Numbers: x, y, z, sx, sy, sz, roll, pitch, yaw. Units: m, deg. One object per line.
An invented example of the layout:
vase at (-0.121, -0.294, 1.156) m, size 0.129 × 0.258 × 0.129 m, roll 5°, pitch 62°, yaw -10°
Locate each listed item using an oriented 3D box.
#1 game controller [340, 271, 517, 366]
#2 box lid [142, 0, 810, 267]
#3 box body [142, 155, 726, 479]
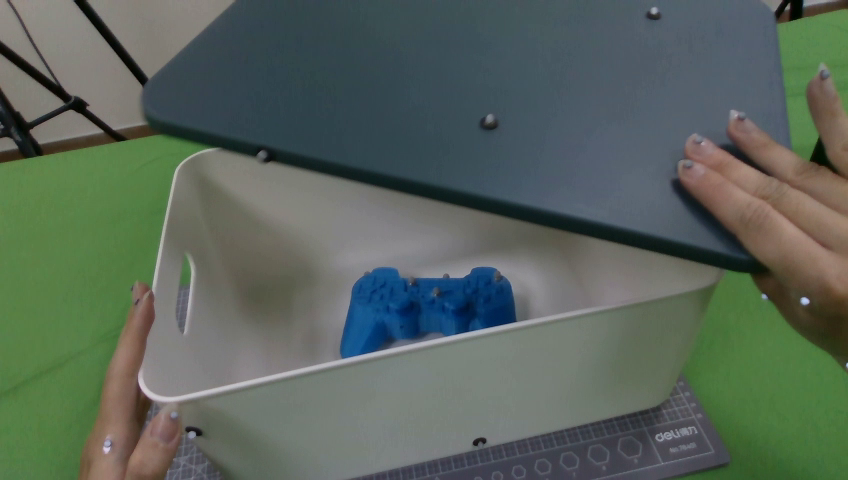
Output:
game controller at (0.006, 0.066, 0.532) m, size 0.155 × 0.052 × 0.096 m, roll 1°, pitch 40°, yaw 7°
box lid at (0.039, -0.115, 0.395) m, size 0.370 × 0.015 × 0.261 m, roll 12°, pitch 49°, yaw 9°
box body at (0.001, 0.034, 0.492) m, size 0.364 × 0.162 × 0.251 m, roll -12°, pitch 43°, yaw -4°
